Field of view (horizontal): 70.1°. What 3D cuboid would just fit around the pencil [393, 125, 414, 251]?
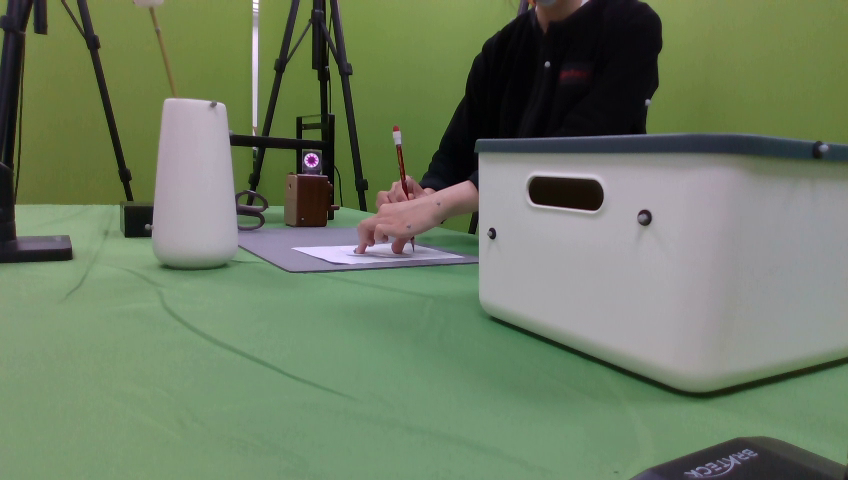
[{"bbox_3d":[-0.029,-0.078,0.919,0.012,0.194,0.012,-8,1,0],"label":"pencil"}]

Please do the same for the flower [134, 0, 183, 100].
[{"bbox_3d":[-0.282,-0.147,0.713,0.038,0.362,0.044,-23,24,-31],"label":"flower"}]

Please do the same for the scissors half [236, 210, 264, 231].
[{"bbox_3d":[-0.369,-0.051,1.065,0.176,0.040,0.012,19,13,-27],"label":"scissors half"}]

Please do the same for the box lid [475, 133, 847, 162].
[{"bbox_3d":[0.256,-0.073,0.528,0.373,0.015,0.262,-2,8,-31],"label":"box lid"}]

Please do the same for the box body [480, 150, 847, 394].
[{"bbox_3d":[0.254,0.002,0.539,0.366,0.160,0.253,-2,8,-31],"label":"box body"}]

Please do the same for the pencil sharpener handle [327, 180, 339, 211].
[{"bbox_3d":[-0.194,-0.095,1.256,0.031,0.067,0.036,-2,-6,-36],"label":"pencil sharpener handle"}]

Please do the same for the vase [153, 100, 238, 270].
[{"bbox_3d":[-0.278,-0.066,0.736,0.098,0.200,0.098,2,9,0],"label":"vase"}]

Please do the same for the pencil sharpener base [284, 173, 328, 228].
[{"bbox_3d":[-0.239,-0.081,1.231,0.077,0.107,0.061,-2,8,-36],"label":"pencil sharpener base"}]

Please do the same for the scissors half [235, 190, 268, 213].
[{"bbox_3d":[-0.363,-0.070,1.060,0.176,0.040,0.013,0,16,-23],"label":"scissors half"}]
